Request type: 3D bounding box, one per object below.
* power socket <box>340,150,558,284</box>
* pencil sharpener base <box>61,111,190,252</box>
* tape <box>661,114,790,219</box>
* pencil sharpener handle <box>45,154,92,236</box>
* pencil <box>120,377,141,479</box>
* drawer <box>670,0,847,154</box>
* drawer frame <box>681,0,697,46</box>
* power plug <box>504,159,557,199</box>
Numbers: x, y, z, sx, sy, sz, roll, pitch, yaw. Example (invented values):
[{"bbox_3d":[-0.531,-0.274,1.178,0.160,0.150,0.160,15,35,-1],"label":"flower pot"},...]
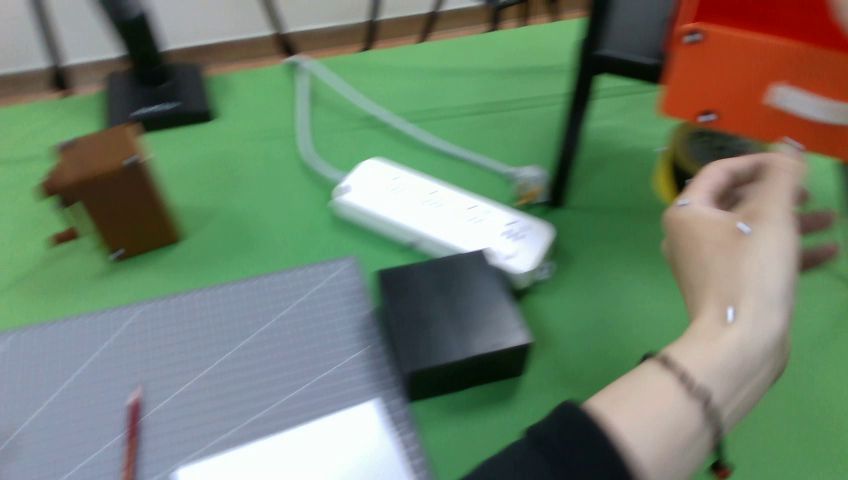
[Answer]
[{"bbox_3d":[0.023,-0.026,0.587,0.225,0.033,0.072,24,52,19],"label":"power socket"},{"bbox_3d":[-0.267,-0.050,0.546,0.077,0.108,0.060,-22,53,-19],"label":"pencil sharpener base"},{"bbox_3d":[0.312,-0.080,0.631,0.117,0.053,0.115,1,49,-1],"label":"tape"},{"bbox_3d":[-0.309,-0.037,0.516,0.031,0.068,0.035,-22,32,-19],"label":"pencil sharpener handle"},{"bbox_3d":[-0.205,0.178,0.413,0.012,0.012,0.192,-8,48,-8],"label":"pencil"},{"bbox_3d":[0.298,-0.152,0.437,0.194,0.074,0.210,18,50,14],"label":"drawer"},{"bbox_3d":[0.333,-0.216,0.493,0.201,0.083,0.212,18,50,14],"label":"drawer frame"},{"bbox_3d":[0.106,-0.060,0.632,0.072,0.035,0.052,-4,31,49],"label":"power plug"}]
